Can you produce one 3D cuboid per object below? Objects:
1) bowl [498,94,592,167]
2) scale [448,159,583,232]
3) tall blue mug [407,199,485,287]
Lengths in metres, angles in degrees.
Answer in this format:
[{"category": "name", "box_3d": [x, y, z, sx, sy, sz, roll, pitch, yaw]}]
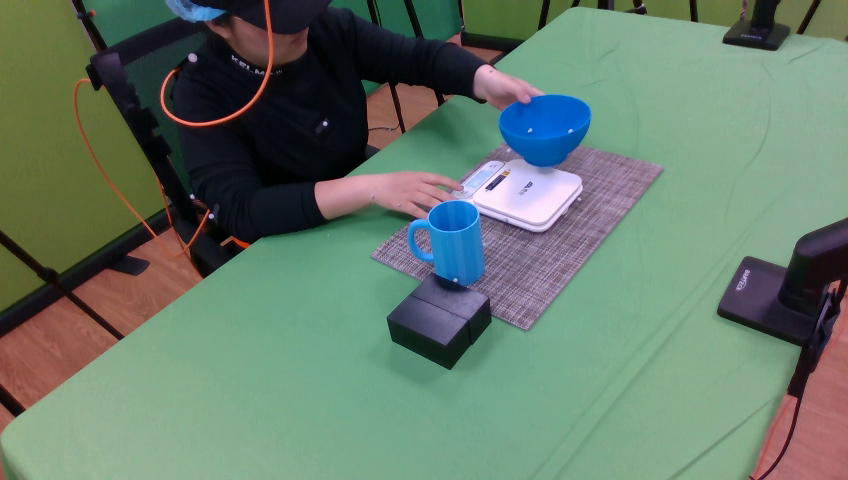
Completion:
[{"category": "bowl", "box_3d": [0.201, -0.174, 1.006, 0.151, 0.077, 0.150, -6, 38, 6]}, {"category": "scale", "box_3d": [0.156, -0.085, 1.040, 0.199, 0.032, 0.149, 22, 48, 33]}, {"category": "tall blue mug", "box_3d": [0.034, 0.008, 0.892, 0.107, 0.108, 0.077, -13, 41, -5]}]
